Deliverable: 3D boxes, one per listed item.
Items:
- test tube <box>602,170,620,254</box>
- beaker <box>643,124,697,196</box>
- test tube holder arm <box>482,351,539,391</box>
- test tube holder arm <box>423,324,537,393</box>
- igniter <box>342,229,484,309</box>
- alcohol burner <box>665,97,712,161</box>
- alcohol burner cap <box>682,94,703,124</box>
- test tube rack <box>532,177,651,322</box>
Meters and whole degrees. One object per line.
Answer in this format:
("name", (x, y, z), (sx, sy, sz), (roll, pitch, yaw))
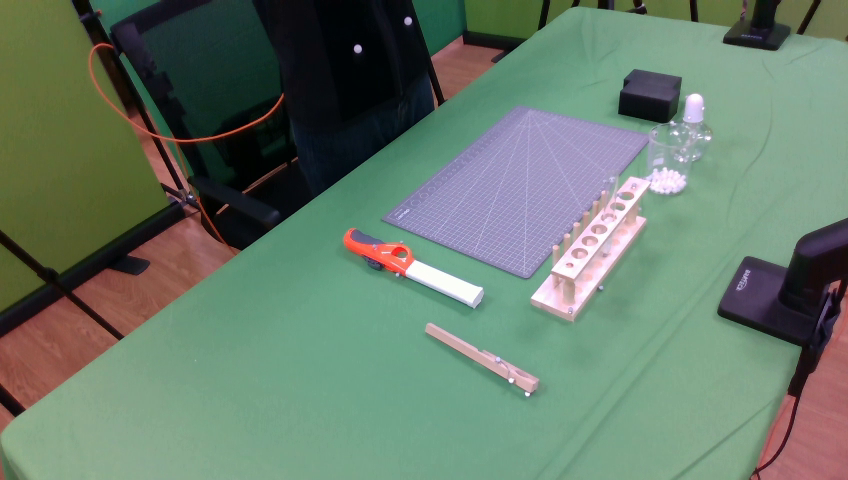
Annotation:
("test tube", (0.261, -0.035, 0.848), (0.017, 0.151, 0.017), (-6, 44, 6))
("beaker", (0.407, -0.132, 1.001), (0.084, 0.101, 0.073), (-20, 42, -13))
("test tube holder arm", (0.106, 0.166, 0.769), (0.087, 0.015, 0.010), (24, 16, 34))
("test tube holder arm", (0.069, 0.151, 0.789), (0.177, 0.015, 0.013), (23, 15, 32))
("igniter", (-0.027, 0.039, 0.936), (0.274, 0.025, 0.057), (23, 59, 32))
("alcohol burner", (0.465, -0.198, 1.057), (0.078, 0.119, 0.077), (-4, 41, 4))
("alcohol burner cap", (0.460, -0.225, 1.033), (0.034, 0.048, 0.033), (-8, 34, 6))
("test tube rack", (0.247, 0.002, 0.883), (0.066, 0.085, 0.243), (22, 49, 32))
